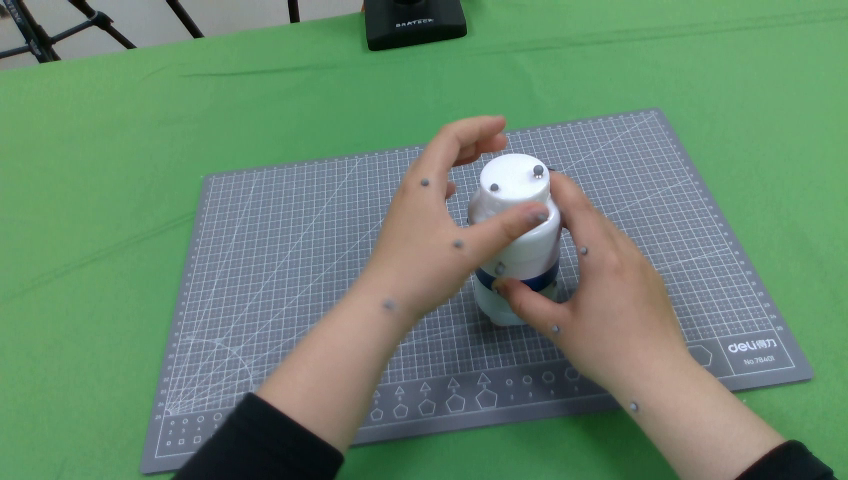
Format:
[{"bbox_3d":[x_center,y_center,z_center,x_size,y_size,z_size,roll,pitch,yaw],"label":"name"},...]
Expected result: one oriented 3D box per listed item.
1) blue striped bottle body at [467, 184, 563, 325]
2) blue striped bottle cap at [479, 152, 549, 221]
[{"bbox_3d":[0.063,0.001,0.419,0.063,0.122,0.062,-4,48,5],"label":"blue striped bottle body"},{"bbox_3d":[0.056,-0.034,0.380,0.044,0.021,0.044,-2,51,3],"label":"blue striped bottle cap"}]
